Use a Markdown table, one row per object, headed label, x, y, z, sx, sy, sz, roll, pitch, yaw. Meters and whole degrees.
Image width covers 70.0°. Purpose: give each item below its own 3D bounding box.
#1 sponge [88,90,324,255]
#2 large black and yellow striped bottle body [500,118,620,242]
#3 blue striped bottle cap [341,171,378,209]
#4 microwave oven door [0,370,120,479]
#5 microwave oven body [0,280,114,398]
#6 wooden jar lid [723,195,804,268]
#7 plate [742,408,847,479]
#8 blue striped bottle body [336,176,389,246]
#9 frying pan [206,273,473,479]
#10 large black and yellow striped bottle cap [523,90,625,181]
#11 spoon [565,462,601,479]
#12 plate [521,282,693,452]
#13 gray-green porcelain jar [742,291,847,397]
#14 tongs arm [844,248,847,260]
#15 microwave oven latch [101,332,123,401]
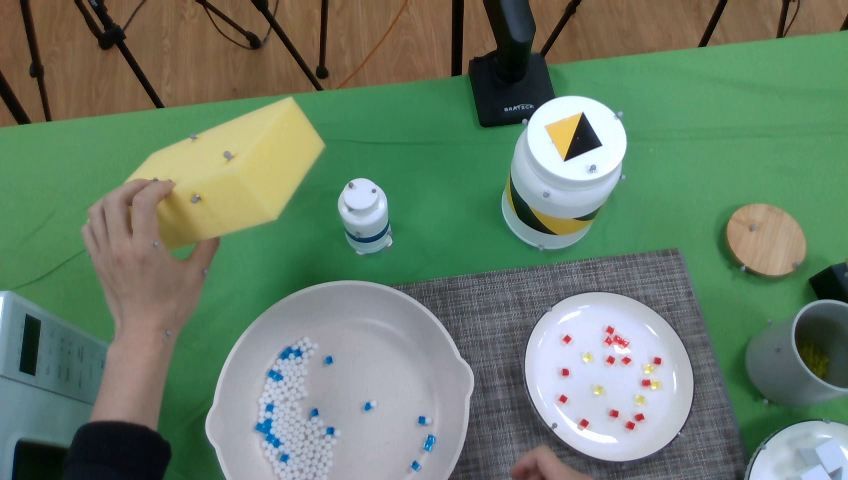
| label | x | y | z | sx | sy | sz | roll | pitch | yaw |
| --- | --- | --- | --- | --- | --- | --- | --- | --- | --- |
| sponge | -0.214 | -0.063 | 0.598 | 0.206 | 0.061 | 0.117 | -13 | 38 | 28 |
| large black and yellow striped bottle body | 0.172 | -0.090 | 0.777 | 0.131 | 0.185 | 0.130 | 0 | 67 | 0 |
| blue striped bottle cap | -0.079 | -0.062 | 0.741 | 0.044 | 0.021 | 0.044 | 0 | 66 | 1 |
| microwave oven door | -0.356 | 0.315 | 0.556 | 0.039 | 0.245 | 0.353 | -7 | 68 | -4 |
| microwave oven body | -0.505 | 0.296 | 0.568 | 0.326 | 0.262 | 0.438 | -7 | 69 | -4 |
| wooden jar lid | 0.466 | -0.010 | 0.837 | 0.108 | 0.021 | 0.107 | 0 | 70 | 0 |
| plate | 0.471 | 0.303 | 0.702 | 0.208 | 0.039 | 0.206 | 0 | 68 | 0 |
| blue striped bottle body | -0.079 | -0.043 | 0.788 | 0.063 | 0.121 | 0.062 | 0 | 68 | -1 |
| frying pan | -0.078 | 0.274 | 0.668 | 0.307 | 0.103 | 0.483 | -9 | 60 | -2 |
| large black and yellow striped bottle cap | 0.173 | -0.122 | 0.698 | 0.115 | 0.019 | 0.114 | 0 | 67 | 0 |
| spoon | 0.245 | 0.323 | 0.697 | 0.193 | 0.022 | 0.041 | 32 | 57 | 10 |
| plate | 0.223 | 0.155 | 0.754 | 0.209 | 0.038 | 0.207 | 0 | 68 | 0 |
| gray-green porcelain jar | 0.454 | 0.129 | 0.724 | 0.106 | 0.127 | 0.105 | 0 | 68 | 0 |
| tongs arm | 0.596 | 0.187 | 0.720 | 0.051 | 0.026 | 0.383 | -12 | 79 | -7 |
| microwave oven latch | -0.382 | 0.153 | 0.731 | 0.030 | 0.030 | 0.078 | -5 | 69 | -3 |
